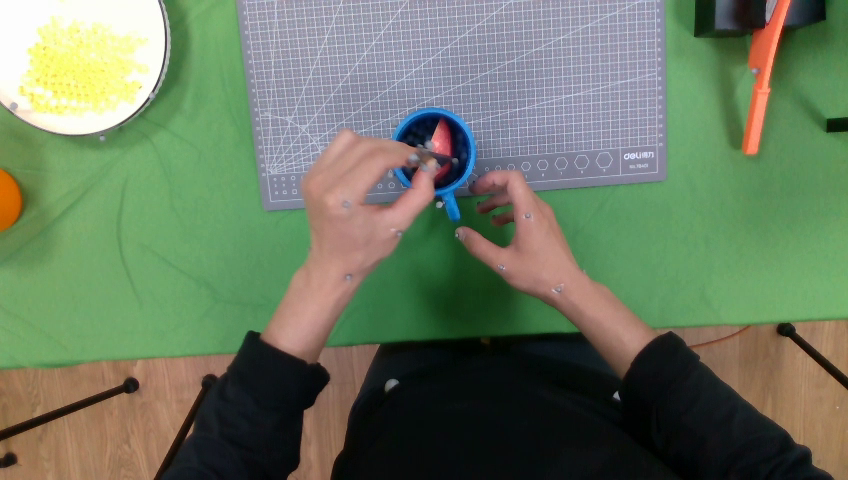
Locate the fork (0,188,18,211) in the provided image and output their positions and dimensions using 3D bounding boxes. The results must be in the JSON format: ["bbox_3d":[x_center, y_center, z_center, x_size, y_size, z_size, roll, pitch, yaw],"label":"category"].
[{"bbox_3d":[-0.531,-0.050,0.605,0.209,0.018,0.028,5,100,-45],"label":"fork"}]

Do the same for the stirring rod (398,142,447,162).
[{"bbox_3d":[0.002,-0.071,0.496,0.006,0.176,0.014,45,102,2],"label":"stirring rod"}]

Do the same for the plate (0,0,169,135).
[{"bbox_3d":[-0.367,-0.215,0.633,0.209,0.038,0.209,0,100,1],"label":"plate"}]

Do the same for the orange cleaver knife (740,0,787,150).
[{"bbox_3d":[0.341,-0.196,0.612,0.012,0.076,0.213,-1,126,9],"label":"orange cleaver knife"}]

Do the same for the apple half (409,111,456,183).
[{"bbox_3d":[0.016,-0.089,0.608,0.033,0.081,0.081,23,99,6],"label":"apple half"}]

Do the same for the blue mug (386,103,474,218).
[{"bbox_3d":[0.012,-0.078,0.619,0.082,0.105,0.117,-19,99,4],"label":"blue mug"}]
